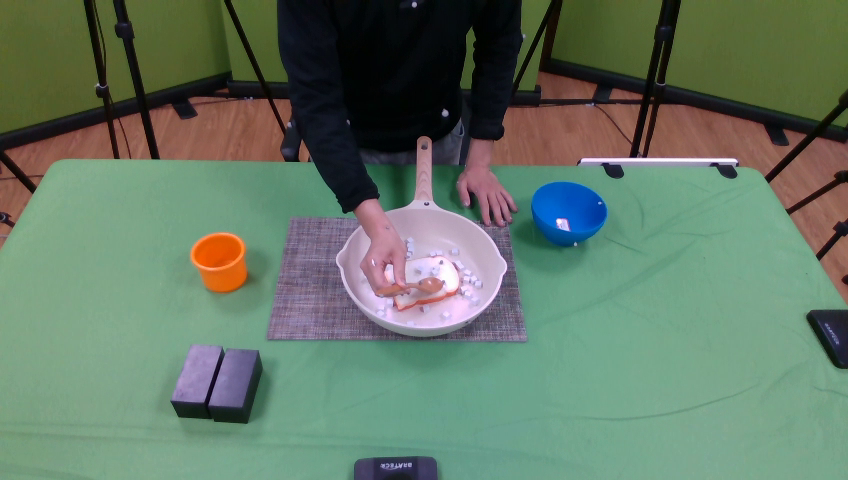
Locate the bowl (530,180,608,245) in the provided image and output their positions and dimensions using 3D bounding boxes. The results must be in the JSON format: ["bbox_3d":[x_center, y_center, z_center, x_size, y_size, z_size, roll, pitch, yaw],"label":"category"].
[{"bbox_3d":[0.284,-0.044,1.222,0.151,0.077,0.150,2,46,-2],"label":"bowl"}]

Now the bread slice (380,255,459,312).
[{"bbox_3d":[-0.004,0.075,1.118,0.134,0.018,0.106,-16,49,-17],"label":"bread slice"}]

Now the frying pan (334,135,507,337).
[{"bbox_3d":[-0.004,-0.026,1.160,0.307,0.103,0.485,4,55,-2],"label":"frying pan"}]

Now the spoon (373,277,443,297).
[{"bbox_3d":[-0.026,0.078,1.012,0.041,0.021,0.194,33,15,27],"label":"spoon"}]
